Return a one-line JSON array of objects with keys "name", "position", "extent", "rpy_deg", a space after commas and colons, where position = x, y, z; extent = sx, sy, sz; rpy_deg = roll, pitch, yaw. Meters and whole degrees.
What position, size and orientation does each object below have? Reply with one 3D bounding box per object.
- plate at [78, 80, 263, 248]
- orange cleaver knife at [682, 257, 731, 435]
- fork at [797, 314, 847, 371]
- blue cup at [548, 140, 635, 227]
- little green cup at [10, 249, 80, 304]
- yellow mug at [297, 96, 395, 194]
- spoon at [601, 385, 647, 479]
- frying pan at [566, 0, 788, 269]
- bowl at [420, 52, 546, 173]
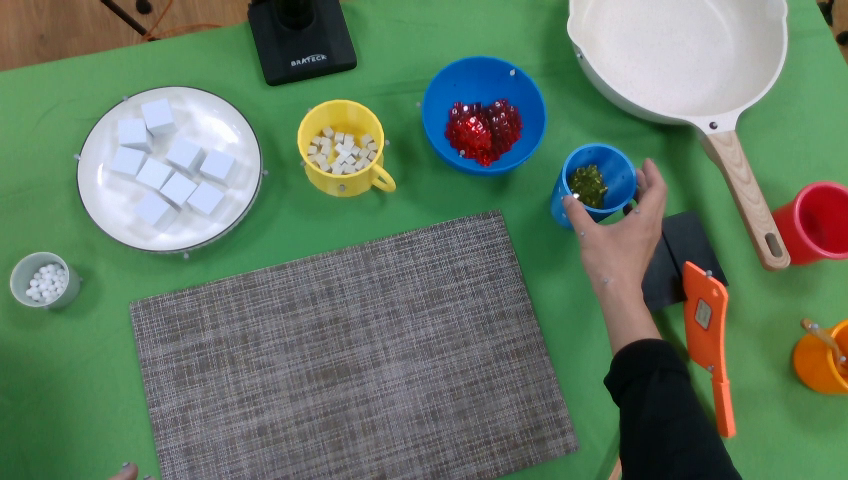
[{"name": "plate", "position": [-0.294, -0.088, 0.720], "extent": [0.208, 0.039, 0.206], "rpy_deg": [1, 76, -5]}, {"name": "orange cleaver knife", "position": [0.326, 0.124, 0.701], "extent": [0.012, 0.076, 0.212], "rpy_deg": [-15, 106, -8]}, {"name": "fork", "position": [0.453, 0.116, 0.680], "extent": [0.209, 0.018, 0.028], "rpy_deg": [29, 70, -43]}, {"name": "blue cup", "position": [0.191, -0.059, 0.725], "extent": [0.093, 0.100, 0.092], "rpy_deg": [2, 73, -5]}, {"name": "little green cup", "position": [-0.418, 0.043, 0.673], "extent": [0.061, 0.039, 0.061], "rpy_deg": [1, 77, -5]}, {"name": "yellow mug", "position": [-0.087, -0.104, 0.729], "extent": [0.130, 0.064, 0.100], "rpy_deg": [37, 76, 4]}, {"name": "spoon", "position": [0.217, 0.252, 0.689], "extent": [0.041, 0.022, 0.193], "rpy_deg": [26, 74, 14]}, {"name": "frying pan", "position": [0.347, -0.190, 0.771], "extent": [0.307, 0.103, 0.484], "rpy_deg": [-10, 69, -7]}, {"name": "bowl", "position": [0.067, -0.144, 0.747], "extent": [0.151, 0.077, 0.150], "rpy_deg": [1, 76, -5]}]
